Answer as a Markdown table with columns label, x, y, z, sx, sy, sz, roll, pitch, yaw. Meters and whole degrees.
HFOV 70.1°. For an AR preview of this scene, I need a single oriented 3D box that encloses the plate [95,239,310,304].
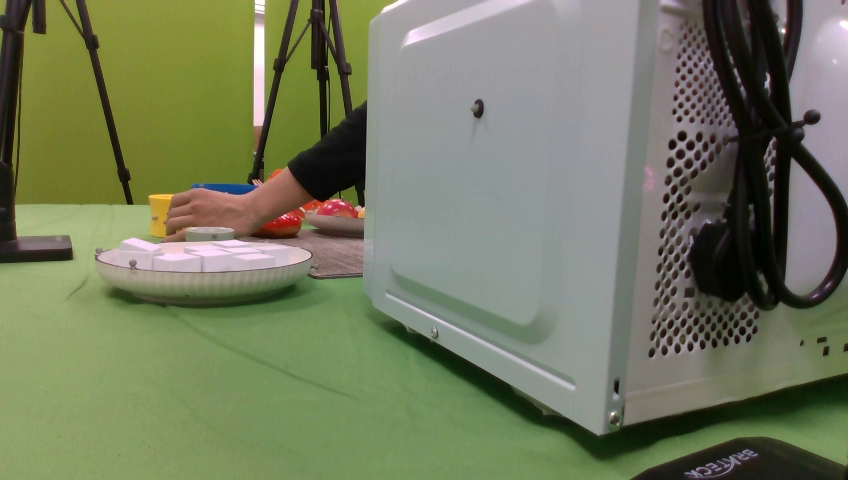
| label | x | y | z | sx | sy | sz | roll | pitch | yaw |
| --- | --- | --- | --- | --- | --- | --- | --- | --- | --- |
| plate | -0.224 | 0.031 | 0.629 | 0.208 | 0.039 | 0.207 | 2 | 8 | 0 |

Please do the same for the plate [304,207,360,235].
| label | x | y | z | sx | sy | sz | roll | pitch | yaw |
| --- | --- | --- | --- | --- | --- | --- | --- | --- | --- |
| plate | -0.123 | -0.037 | 1.149 | 0.209 | 0.038 | 0.209 | 2 | 7 | 0 |

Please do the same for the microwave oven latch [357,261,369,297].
| label | x | y | z | sx | sy | sz | roll | pitch | yaw |
| --- | --- | --- | --- | --- | --- | --- | --- | --- | --- |
| microwave oven latch | -0.019 | 0.033 | 0.530 | 0.079 | 0.029 | 0.030 | -1 | 7 | -26 |

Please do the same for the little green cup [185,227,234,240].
| label | x | y | z | sx | sy | sz | roll | pitch | yaw |
| --- | --- | --- | --- | --- | --- | --- | --- | --- | --- |
| little green cup | -0.285 | 0.005 | 0.805 | 0.061 | 0.038 | 0.061 | 2 | 8 | 0 |

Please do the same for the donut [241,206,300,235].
| label | x | y | z | sx | sy | sz | roll | pitch | yaw |
| --- | --- | --- | --- | --- | --- | --- | --- | --- | --- |
| donut | -0.263 | -0.032 | 1.039 | 0.099 | 0.048 | 0.099 | 4 | 9 | 0 |

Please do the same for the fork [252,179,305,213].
| label | x | y | z | sx | sy | sz | roll | pitch | yaw |
| --- | --- | --- | --- | --- | --- | --- | --- | --- | --- |
| fork | -0.295 | -0.083 | 1.292 | 0.206 | 0.018 | 0.028 | 29 | 10 | 25 |

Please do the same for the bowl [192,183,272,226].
| label | x | y | z | sx | sy | sz | roll | pitch | yaw |
| --- | --- | --- | --- | --- | --- | --- | --- | --- | --- |
| bowl | -0.381 | -0.071 | 1.202 | 0.151 | 0.077 | 0.151 | 3 | 7 | 0 |

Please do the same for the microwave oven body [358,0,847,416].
| label | x | y | z | sx | sy | sz | roll | pitch | yaw |
| --- | --- | --- | --- | --- | --- | --- | --- | --- | --- |
| microwave oven body | 0.211 | -0.047 | 0.474 | 0.444 | 0.260 | 0.324 | -1 | 7 | -28 |

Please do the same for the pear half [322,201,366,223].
| label | x | y | z | sx | sy | sz | roll | pitch | yaw |
| --- | --- | --- | --- | --- | --- | --- | --- | --- | --- |
| pear half | -0.157 | -0.059 | 1.197 | 0.088 | 0.031 | 0.070 | 11 | 30 | -4 |

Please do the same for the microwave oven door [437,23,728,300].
| label | x | y | z | sx | sy | sz | roll | pitch | yaw |
| --- | --- | --- | --- | --- | --- | --- | --- | --- | --- |
| microwave oven door | 0.181 | -0.073 | 0.621 | 0.358 | 0.243 | 0.039 | -2 | 8 | -29 |

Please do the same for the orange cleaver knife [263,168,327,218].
| label | x | y | z | sx | sy | sz | roll | pitch | yaw |
| --- | --- | --- | --- | --- | --- | --- | --- | --- | --- |
| orange cleaver knife | -0.262 | -0.088 | 1.352 | 0.211 | 0.077 | 0.012 | 27 | 13 | 0 |

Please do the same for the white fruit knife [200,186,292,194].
| label | x | y | z | sx | sy | sz | roll | pitch | yaw |
| --- | --- | --- | --- | --- | --- | --- | --- | --- | --- |
| white fruit knife | -0.399 | -0.111 | 1.368 | 0.208 | 0.016 | 0.027 | -4 | -19 | -30 |

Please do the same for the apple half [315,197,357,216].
| label | x | y | z | sx | sy | sz | roll | pitch | yaw |
| --- | --- | --- | --- | --- | --- | --- | --- | --- | --- |
| apple half | -0.162 | -0.052 | 1.121 | 0.081 | 0.053 | 0.074 | 4 | 8 | -14 |

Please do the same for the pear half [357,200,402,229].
| label | x | y | z | sx | sy | sz | roll | pitch | yaw |
| --- | --- | --- | --- | --- | --- | --- | --- | --- | --- |
| pear half | -0.075 | -0.046 | 1.132 | 0.076 | 0.056 | 0.110 | 12 | 6 | 31 |

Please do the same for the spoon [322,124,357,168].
| label | x | y | z | sx | sy | sz | roll | pitch | yaw |
| --- | --- | --- | --- | --- | --- | --- | --- | --- | --- |
| spoon | -0.191 | -0.224 | 1.418 | 0.041 | 0.021 | 0.193 | 6 | 45 | 14 |

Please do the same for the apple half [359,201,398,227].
| label | x | y | z | sx | sy | sz | roll | pitch | yaw |
| --- | --- | --- | --- | --- | --- | --- | --- | --- | --- |
| apple half | -0.088 | -0.058 | 1.190 | 0.081 | 0.033 | 0.081 | 9 | 29 | -5 |

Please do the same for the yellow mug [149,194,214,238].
| label | x | y | z | sx | sy | sz | roll | pitch | yaw |
| --- | --- | --- | --- | --- | --- | --- | --- | --- | --- |
| yellow mug | -0.401 | -0.039 | 1.003 | 0.100 | 0.064 | 0.130 | 0 | 9 | -20 |
